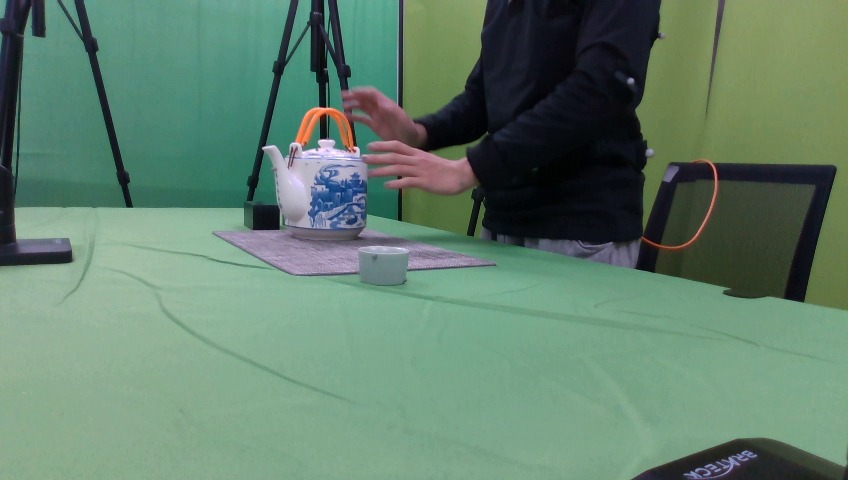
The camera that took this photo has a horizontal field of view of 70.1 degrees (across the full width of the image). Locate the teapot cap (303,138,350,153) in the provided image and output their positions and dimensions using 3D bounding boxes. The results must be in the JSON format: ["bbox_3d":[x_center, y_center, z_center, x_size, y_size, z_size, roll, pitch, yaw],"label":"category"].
[{"bbox_3d":[-0.172,-0.157,1.060,0.085,0.044,0.085,-1,7,0],"label":"teapot cap"}]

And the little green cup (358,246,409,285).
[{"bbox_3d":[-0.048,0.030,0.707,0.061,0.038,0.061,2,8,0],"label":"little green cup"}]

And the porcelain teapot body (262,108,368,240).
[{"bbox_3d":[-0.189,-0.115,1.041,0.144,0.225,0.206,8,10,37],"label":"porcelain teapot body"}]
